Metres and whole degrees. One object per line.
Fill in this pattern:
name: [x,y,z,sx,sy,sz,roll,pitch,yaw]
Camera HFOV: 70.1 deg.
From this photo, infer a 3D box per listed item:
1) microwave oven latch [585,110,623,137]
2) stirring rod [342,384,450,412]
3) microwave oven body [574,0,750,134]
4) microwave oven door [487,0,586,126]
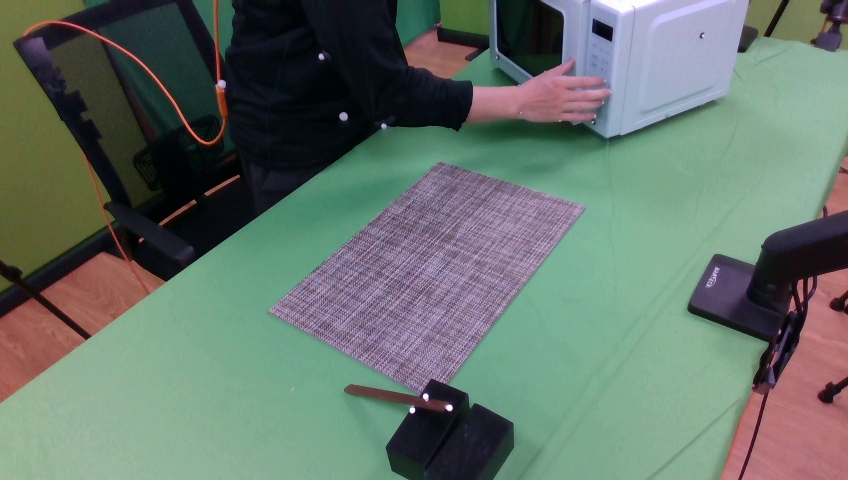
microwave oven latch: [0.337,-0.222,1.142,0.030,0.029,0.078,-20,42,-14]
stirring rod: [-0.038,0.186,0.714,0.175,0.006,0.014,-3,22,43]
microwave oven body: [0.382,-0.444,1.246,0.327,0.261,0.437,-22,42,-16]
microwave oven door: [0.224,-0.416,1.229,0.039,0.245,0.352,-19,42,-14]
